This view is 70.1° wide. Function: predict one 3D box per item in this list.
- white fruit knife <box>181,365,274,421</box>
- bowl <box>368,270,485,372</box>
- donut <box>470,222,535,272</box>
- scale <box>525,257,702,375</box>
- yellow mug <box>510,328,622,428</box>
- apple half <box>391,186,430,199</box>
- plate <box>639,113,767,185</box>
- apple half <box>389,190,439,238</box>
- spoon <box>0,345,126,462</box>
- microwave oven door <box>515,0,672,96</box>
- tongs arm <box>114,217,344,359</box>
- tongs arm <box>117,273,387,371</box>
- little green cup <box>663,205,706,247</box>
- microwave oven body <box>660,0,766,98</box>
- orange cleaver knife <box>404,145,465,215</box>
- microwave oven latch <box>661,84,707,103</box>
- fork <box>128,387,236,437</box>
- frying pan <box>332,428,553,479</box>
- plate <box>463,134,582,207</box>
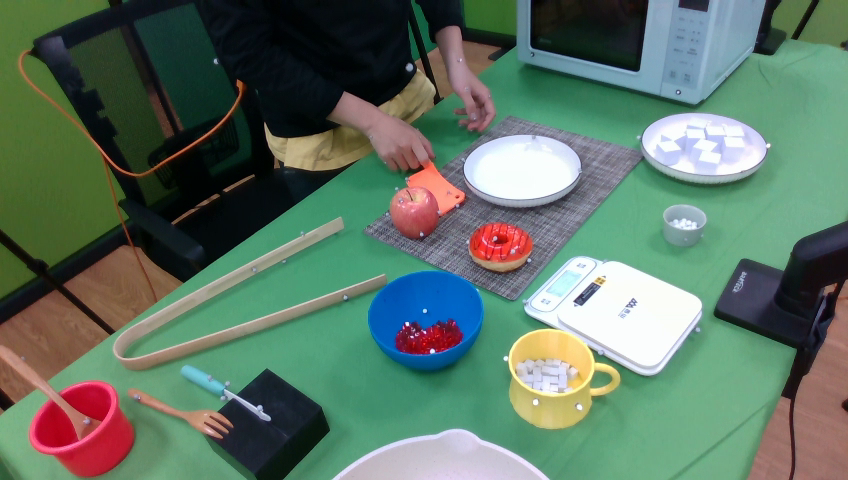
[{"bbox_3d":[-0.246,0.187,0.747,0.205,0.027,0.016,9,41,40],"label":"white fruit knife"},{"bbox_3d":[0.007,0.118,0.791,0.151,0.077,0.150,-4,40,4],"label":"bowl"},{"bbox_3d":[0.119,0.009,0.923,0.099,0.048,0.098,-4,38,3],"label":"donut"},{"bbox_3d":[0.254,0.091,0.821,0.199,0.032,0.149,28,51,35],"label":"scale"},{"bbox_3d":[0.168,0.164,0.721,0.130,0.064,0.099,0,40,8],"label":"yellow mug"},{"bbox_3d":[-0.019,-0.061,1.002,0.081,0.081,0.032,-9,43,-1],"label":"apple half"},{"bbox_3d":[0.489,-0.157,1.074,0.207,0.039,0.206,-4,40,4],"label":"plate"},{"bbox_3d":[-0.014,-0.035,0.973,0.081,0.075,0.053,-6,44,-4],"label":"apple half"},{"bbox_3d":[-0.434,0.192,0.720,0.194,0.021,0.042,47,53,-6],"label":"spoon"},{"bbox_3d":[0.343,-0.454,1.259,0.353,0.245,0.039,26,51,33],"label":"microwave oven door"},{"bbox_3d":[-0.280,0.067,0.927,0.386,0.026,0.050,-29,49,-23],"label":"tongs arm"},{"bbox_3d":[-0.236,0.115,0.870,0.389,0.028,0.028,-18,49,-12],"label":"tongs arm"},{"bbox_3d":[0.396,-0.020,0.926,0.061,0.039,0.061,-4,40,4],"label":"little green cup"},{"bbox_3d":[0.472,-0.513,1.317,0.438,0.261,0.327,26,51,34],"label":"microwave oven body"},{"bbox_3d":[0.005,-0.112,1.103,0.077,0.012,0.209,-23,44,-10],"label":"orange cleaver knife"},{"bbox_3d":[0.517,-0.296,1.204,0.078,0.029,0.030,27,52,35],"label":"microwave oven latch"},{"bbox_3d":[-0.305,0.207,0.744,0.206,0.019,0.028,3,41,36],"label":"fork"},{"bbox_3d":[-0.089,0.306,0.564,0.487,0.103,0.306,10,41,7],"label":"frying pan"},{"bbox_3d":[0.173,-0.119,1.070,0.209,0.038,0.208,-4,40,4],"label":"plate"}]
